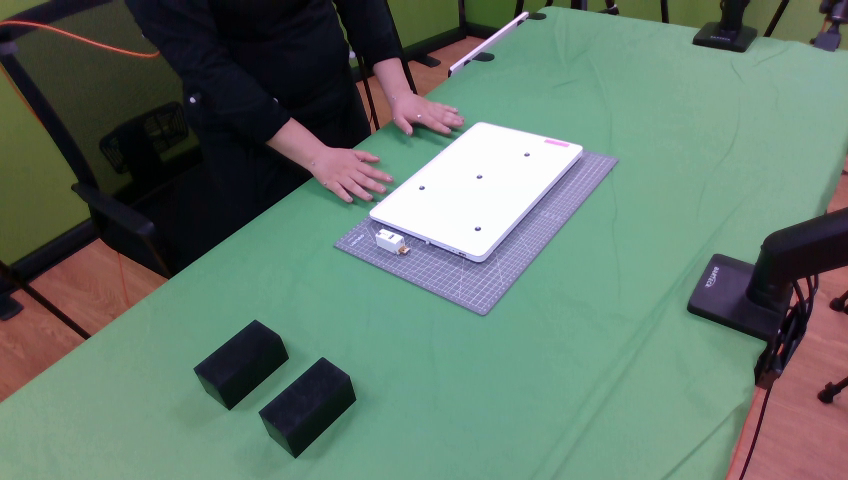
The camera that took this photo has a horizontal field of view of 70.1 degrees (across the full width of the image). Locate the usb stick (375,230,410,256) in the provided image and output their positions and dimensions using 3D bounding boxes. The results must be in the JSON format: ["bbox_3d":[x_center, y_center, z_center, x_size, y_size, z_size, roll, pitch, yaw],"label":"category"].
[{"bbox_3d":[-0.049,0.007,0.962,0.059,0.027,0.021,25,46,28],"label":"usb stick"}]

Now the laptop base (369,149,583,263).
[{"bbox_3d":[0.101,-0.096,1.071,0.233,0.023,0.355,20,47,33],"label":"laptop base"}]

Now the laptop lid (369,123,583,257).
[{"bbox_3d":[0.097,-0.106,1.065,0.239,0.013,0.358,22,48,33],"label":"laptop lid"}]
